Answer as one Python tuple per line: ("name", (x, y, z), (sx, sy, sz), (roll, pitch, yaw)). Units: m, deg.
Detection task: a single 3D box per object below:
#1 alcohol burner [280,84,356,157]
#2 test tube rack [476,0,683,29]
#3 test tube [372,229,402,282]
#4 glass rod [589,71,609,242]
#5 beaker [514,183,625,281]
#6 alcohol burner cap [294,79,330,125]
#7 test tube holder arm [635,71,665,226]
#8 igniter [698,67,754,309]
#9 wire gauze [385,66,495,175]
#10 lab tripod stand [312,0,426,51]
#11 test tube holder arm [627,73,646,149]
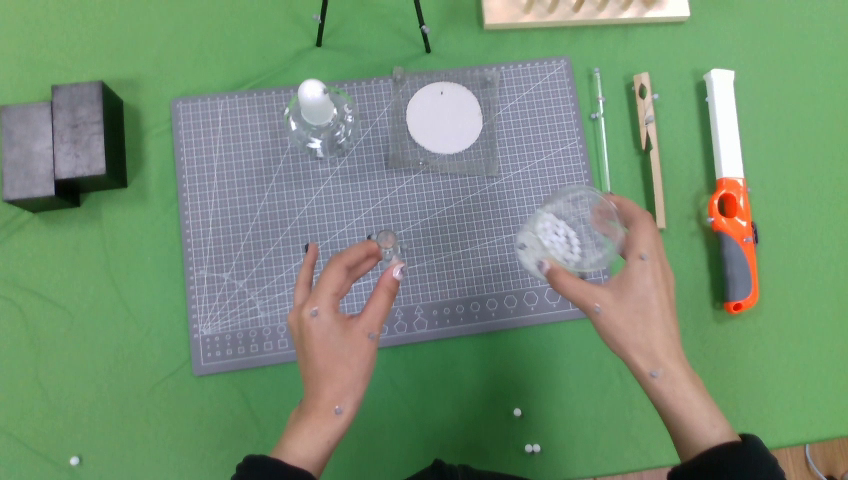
("alcohol burner", (-0.110, -0.128, 0.615), (0.078, 0.119, 0.077), (0, 80, -1))
("test tube rack", (0.184, -0.294, 0.678), (0.242, 0.085, 0.066), (-4, 80, -4))
("test tube", (-0.029, 0.016, 0.505), (0.017, 0.151, 0.017), (0, 77, 0))
("glass rod", (0.198, -0.096, 0.684), (0.008, 0.008, 0.199), (-2, 83, -4))
("beaker", (0.123, -0.002, 0.550), (0.084, 0.100, 0.073), (2, 79, -5))
("alcohol burner cap", (-0.109, -0.136, 0.580), (0.034, 0.048, 0.033), (1, 73, -3))
("test tube holder arm", (0.254, -0.104, 0.683), (0.013, 0.015, 0.177), (-12, 79, 30))
("igniter", (0.337, -0.061, 0.678), (0.057, 0.025, 0.275), (1, 80, -14))
("wire gauze", (0.019, -0.136, 0.679), (0.125, 0.011, 0.121), (3, 81, -4))
("lab tripod stand", (-0.058, -0.265, 0.634), (0.148, 0.132, 0.148), (0, 82, -3))
("test tube holder arm", (0.245, -0.147, 0.693), (0.010, 0.015, 0.087), (-11, 80, 30))
